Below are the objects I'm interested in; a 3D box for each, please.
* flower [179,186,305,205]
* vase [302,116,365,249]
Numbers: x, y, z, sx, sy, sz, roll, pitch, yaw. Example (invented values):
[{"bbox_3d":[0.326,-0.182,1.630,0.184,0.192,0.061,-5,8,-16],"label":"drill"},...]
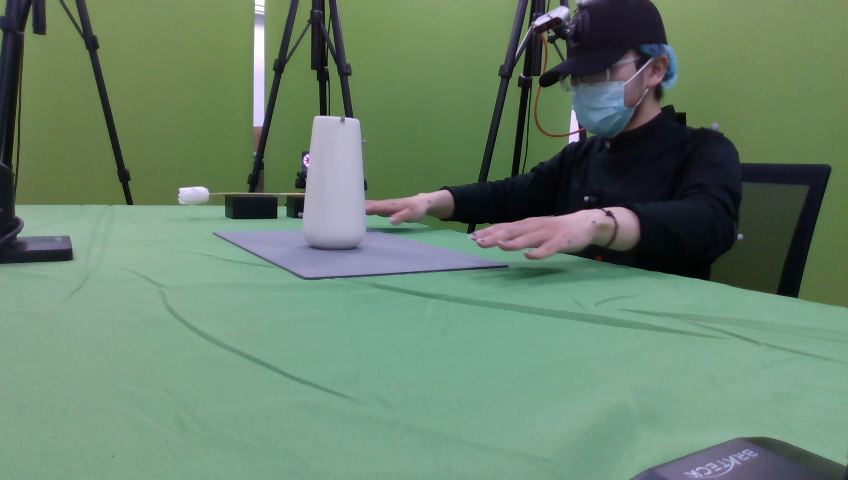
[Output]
[{"bbox_3d":[-0.361,-0.110,1.365,0.364,0.038,0.044,-7,-6,-33],"label":"flower"},{"bbox_3d":[-0.139,-0.088,0.930,0.098,0.200,0.098,1,9,0],"label":"vase"}]
